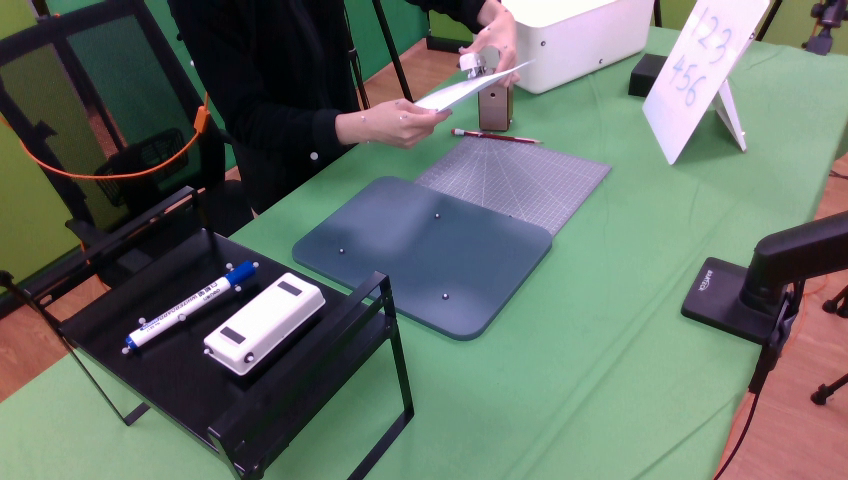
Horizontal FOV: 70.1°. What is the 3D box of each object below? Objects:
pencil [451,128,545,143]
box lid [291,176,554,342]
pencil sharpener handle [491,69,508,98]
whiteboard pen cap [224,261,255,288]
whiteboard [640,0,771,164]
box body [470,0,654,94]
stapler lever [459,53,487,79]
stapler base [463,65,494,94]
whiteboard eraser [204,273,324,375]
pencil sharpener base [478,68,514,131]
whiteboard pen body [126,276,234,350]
[{"bbox_3d":[0.145,-0.207,1.204,0.193,0.012,0.012,11,43,20],"label":"pencil"},{"bbox_3d":[-0.005,0.011,0.972,0.368,0.015,0.264,21,49,30],"label":"box lid"},{"bbox_3d":[0.155,-0.329,1.254,0.036,0.068,0.030,17,43,4],"label":"pencil sharpener handle"},{"bbox_3d":[-0.207,0.039,0.677,0.033,0.018,0.018,-36,47,-18],"label":"whiteboard pen cap"},{"bbox_3d":[0.543,-0.299,1.076,0.144,0.305,0.216,12,40,-7],"label":"whiteboard"},{"bbox_3d":[0.319,-0.498,1.405,0.365,0.161,0.252,-26,43,-21],"label":"box body"},{"bbox_3d":[0.084,-0.303,1.029,0.027,0.040,0.118,-10,24,18],"label":"stapler lever"},{"bbox_3d":[0.092,-0.281,1.037,0.041,0.024,0.130,-10,23,18],"label":"stapler base"},{"bbox_3d":[-0.157,0.084,0.605,0.055,0.042,0.113,24,49,30],"label":"whiteboard eraser"},{"bbox_3d":[0.148,-0.286,1.225,0.061,0.107,0.076,5,42,15],"label":"pencil sharpener base"},{"bbox_3d":[-0.251,0.070,0.649,0.141,0.017,0.017,-36,48,-26],"label":"whiteboard pen body"}]
